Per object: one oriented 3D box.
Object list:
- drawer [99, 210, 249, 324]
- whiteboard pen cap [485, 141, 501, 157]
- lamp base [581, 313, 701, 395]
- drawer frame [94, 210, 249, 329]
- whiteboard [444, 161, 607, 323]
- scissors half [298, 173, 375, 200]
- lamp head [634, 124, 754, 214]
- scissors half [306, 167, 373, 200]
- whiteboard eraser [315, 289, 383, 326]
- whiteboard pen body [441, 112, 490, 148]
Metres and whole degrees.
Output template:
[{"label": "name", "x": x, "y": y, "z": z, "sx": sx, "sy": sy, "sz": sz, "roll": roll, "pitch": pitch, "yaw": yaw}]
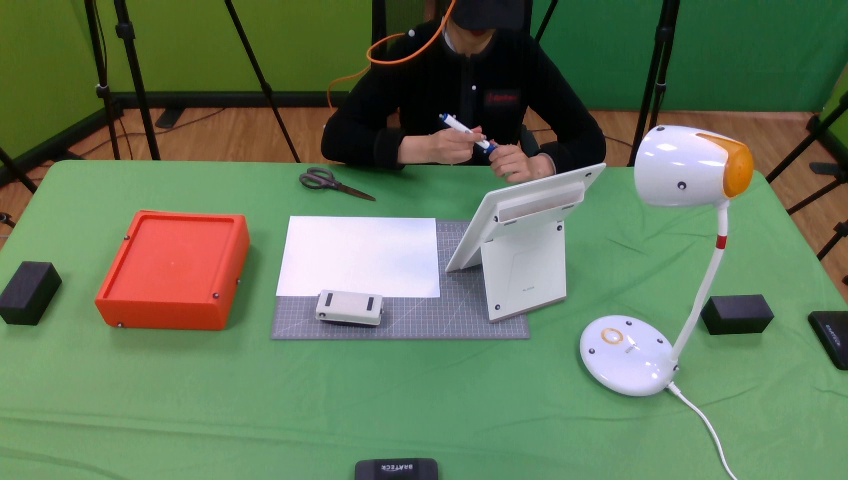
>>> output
[{"label": "drawer", "x": -0.435, "y": 0.044, "z": 1.081, "sx": 0.194, "sy": 0.073, "sz": 0.210, "roll": 3, "pitch": 47, "yaw": -2}, {"label": "whiteboard pen cap", "x": 0.137, "y": -0.181, "z": 1.210, "sx": 0.033, "sy": 0.018, "sz": 0.018, "roll": 37, "pitch": 46, "yaw": -14}, {"label": "lamp base", "x": 0.361, "y": 0.144, "z": 0.973, "sx": 0.178, "sy": 0.181, "sz": 0.160, "roll": 34, "pitch": 53, "yaw": 23}, {"label": "drawer frame", "x": -0.435, "y": 0.048, "z": 1.076, "sx": 0.202, "sy": 0.083, "sz": 0.212, "roll": 2, "pitch": 47, "yaw": -3}, {"label": "whiteboard", "x": 0.185, "y": 0.025, "z": 1.029, "sx": 0.217, "sy": 0.306, "sz": 0.143, "roll": -14, "pitch": 68, "yaw": -18}, {"label": "scissors half", "x": -0.188, "y": -0.110, "z": 1.296, "sx": 0.175, "sy": 0.013, "sz": 0.040, "roll": 15, "pitch": 42, "yaw": 5}, {"label": "lamp head", "x": 0.351, "y": -0.089, "z": 0.776, "sx": 0.112, "sy": 0.113, "sz": 0.122, "roll": -30, "pitch": 30, "yaw": -28}, {"label": "scissors half", "x": -0.180, "y": -0.121, "z": 1.311, "sx": 0.174, "sy": 0.013, "sz": 0.040, "roll": 27, "pitch": 39, "yaw": 18}, {"label": "whiteboard eraser", "x": -0.130, "y": 0.119, "z": 1.054, "sx": 0.113, "sy": 0.042, "sz": 0.055, "roll": 6, "pitch": 47, "yaw": 1}, {"label": "whiteboard pen body", "x": 0.090, "y": -0.209, "z": 1.184, "sx": 0.141, "sy": 0.017, "sz": 0.017, "roll": 29, "pitch": 39, "yaw": -27}]
